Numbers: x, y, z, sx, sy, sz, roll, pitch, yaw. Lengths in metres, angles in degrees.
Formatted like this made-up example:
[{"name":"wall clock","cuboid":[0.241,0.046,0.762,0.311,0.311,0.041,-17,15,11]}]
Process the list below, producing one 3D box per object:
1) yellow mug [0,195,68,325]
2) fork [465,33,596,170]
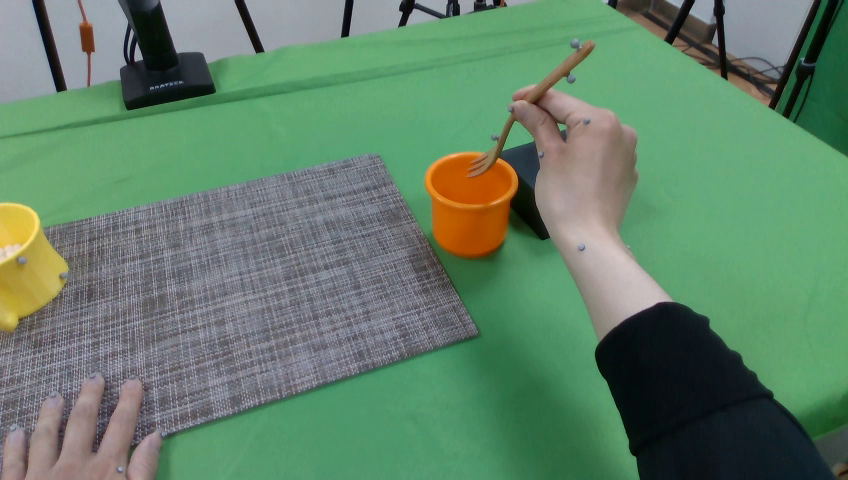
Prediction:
[{"name":"yellow mug","cuboid":[-0.389,0.023,0.551,0.100,0.064,0.129,-20,48,-19]},{"name":"fork","cuboid":[0.079,-0.106,0.500,0.019,0.208,0.028,28,65,-7]}]
